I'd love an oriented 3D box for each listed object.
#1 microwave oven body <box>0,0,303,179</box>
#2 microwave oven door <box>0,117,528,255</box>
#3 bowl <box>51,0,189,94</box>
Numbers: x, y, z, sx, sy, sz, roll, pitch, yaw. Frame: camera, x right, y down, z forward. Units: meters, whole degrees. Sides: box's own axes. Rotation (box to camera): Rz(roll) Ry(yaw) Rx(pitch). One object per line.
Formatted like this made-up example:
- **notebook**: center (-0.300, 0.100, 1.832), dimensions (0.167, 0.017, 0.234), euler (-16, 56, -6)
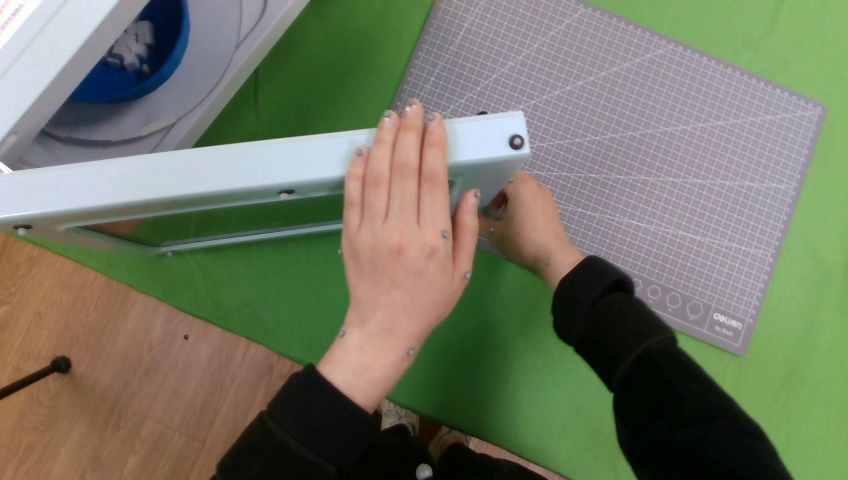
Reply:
- **microwave oven body**: center (-0.271, -0.272, 0.516), dimensions (0.326, 0.260, 0.441), euler (37, 84, 0)
- **microwave oven door**: center (-0.112, -0.037, 0.500), dimensions (0.356, 0.244, 0.039), euler (-7, 84, -4)
- **bowl**: center (-0.276, -0.191, 0.539), dimensions (0.151, 0.077, 0.151), euler (0, 82, -2)
